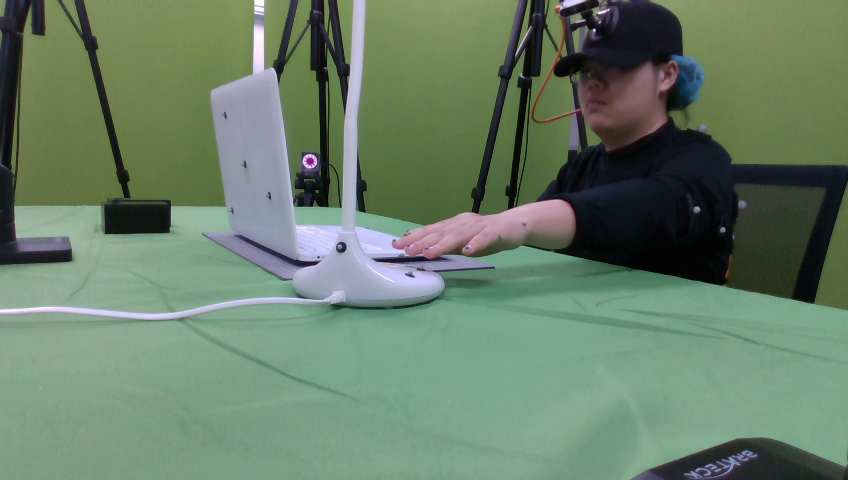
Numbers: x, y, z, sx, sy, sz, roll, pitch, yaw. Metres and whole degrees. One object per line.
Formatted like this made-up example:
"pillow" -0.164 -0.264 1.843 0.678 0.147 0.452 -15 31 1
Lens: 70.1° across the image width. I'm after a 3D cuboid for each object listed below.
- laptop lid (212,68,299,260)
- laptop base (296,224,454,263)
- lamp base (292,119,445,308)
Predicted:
"laptop lid" -0.254 -0.110 0.872 0.013 0.241 0.355 -11 14 -30
"laptop base" -0.143 0.004 0.957 0.237 0.023 0.352 2 7 -32
"lamp base" -0.056 -0.030 0.616 0.160 0.180 0.179 3 10 8
